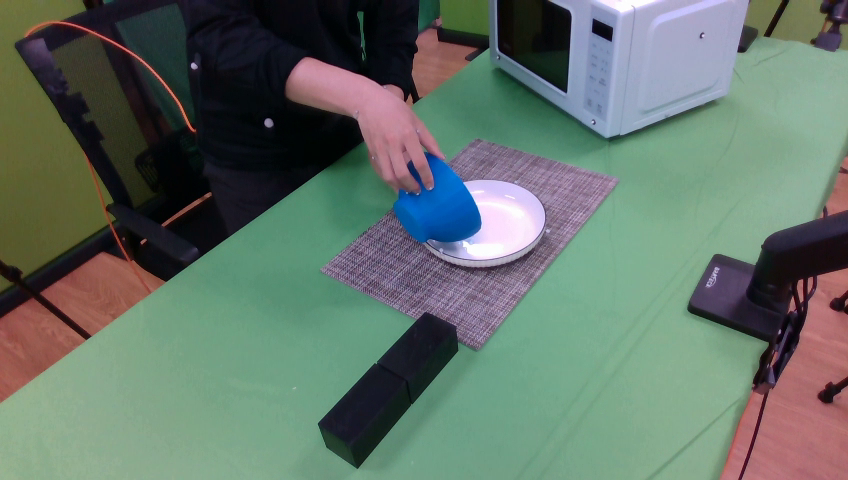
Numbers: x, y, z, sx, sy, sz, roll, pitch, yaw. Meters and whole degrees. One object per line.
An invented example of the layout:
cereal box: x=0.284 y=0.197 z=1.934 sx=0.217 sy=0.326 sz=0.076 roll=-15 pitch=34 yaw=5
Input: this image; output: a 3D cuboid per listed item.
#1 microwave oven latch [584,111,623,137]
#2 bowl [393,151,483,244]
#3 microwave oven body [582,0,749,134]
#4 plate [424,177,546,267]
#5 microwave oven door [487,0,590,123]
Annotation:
microwave oven latch: x=0.337 y=-0.222 z=1.142 sx=0.030 sy=0.029 sz=0.078 roll=-21 pitch=42 yaw=-14
bowl: x=0.007 y=-0.047 z=0.890 sx=0.077 sy=0.152 sz=0.150 roll=-39 pitch=48 yaw=-17
microwave oven body: x=0.382 y=-0.444 z=1.246 sx=0.327 sy=0.261 sz=0.437 roll=-22 pitch=42 yaw=-16
plate: x=0.090 y=-0.026 z=0.970 sx=0.207 sy=0.039 sz=0.206 roll=-4 pitch=41 yaw=4
microwave oven door: x=0.232 y=-0.420 z=1.231 sx=0.039 sy=0.245 sz=0.352 roll=-22 pitch=43 yaw=-16
